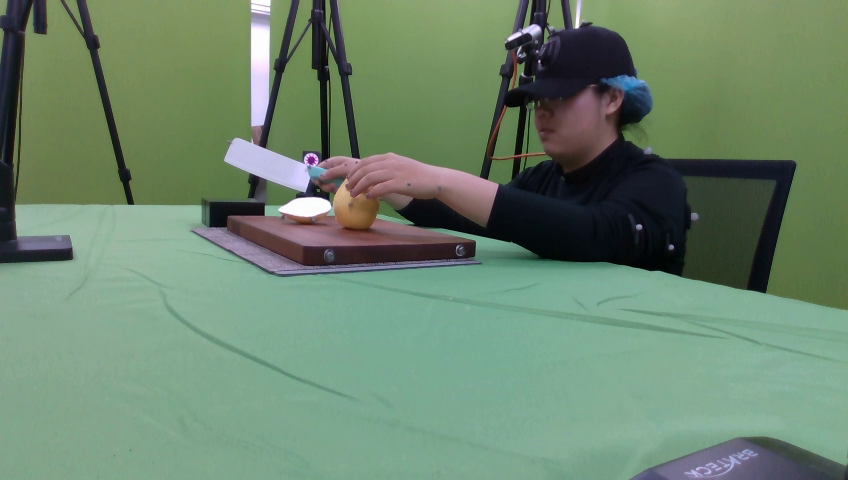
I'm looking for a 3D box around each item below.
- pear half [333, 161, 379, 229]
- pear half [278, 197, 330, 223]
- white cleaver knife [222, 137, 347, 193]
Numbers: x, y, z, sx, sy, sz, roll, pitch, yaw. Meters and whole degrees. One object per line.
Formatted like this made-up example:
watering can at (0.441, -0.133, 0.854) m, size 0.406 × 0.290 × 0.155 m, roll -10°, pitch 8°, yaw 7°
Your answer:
pear half at (-0.103, -0.072, 0.970) m, size 0.077 × 0.110 × 0.055 m, roll -10°, pitch 15°, yaw -44°
pear half at (-0.204, -0.047, 1.033) m, size 0.088 × 0.031 × 0.070 m, roll -13°, pitch 27°, yaw -17°
white cleaver knife at (-0.254, -0.131, 1.210) m, size 0.288 × 0.066 × 0.021 m, roll 18°, pitch -12°, yaw -21°
